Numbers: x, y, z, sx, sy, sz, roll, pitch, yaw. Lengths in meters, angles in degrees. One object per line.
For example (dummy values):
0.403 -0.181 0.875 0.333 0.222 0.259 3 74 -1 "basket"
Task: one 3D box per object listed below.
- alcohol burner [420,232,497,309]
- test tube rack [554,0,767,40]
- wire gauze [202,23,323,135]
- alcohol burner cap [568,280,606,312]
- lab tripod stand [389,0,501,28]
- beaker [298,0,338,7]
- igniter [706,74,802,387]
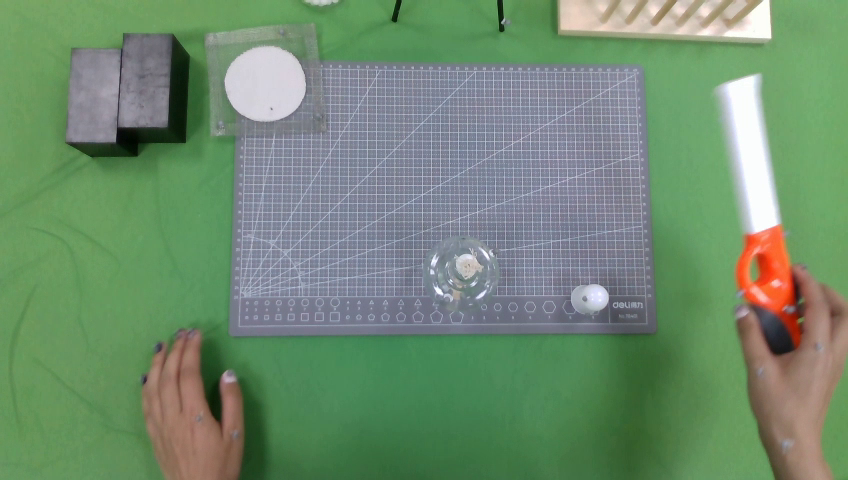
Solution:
0.035 0.028 0.592 0.078 0.119 0.077 1 81 -3 "alcohol burner"
0.271 -0.272 0.657 0.242 0.085 0.066 1 82 -2 "test tube rack"
-0.177 -0.176 0.659 0.125 0.011 0.121 -6 82 -3 "wire gauze"
0.172 0.058 0.630 0.034 0.048 0.033 0 80 -2 "alcohol burner cap"
0.026 -0.293 0.624 0.148 0.132 0.148 0 81 -1 "lab tripod stand"
-0.116 -0.297 0.635 0.074 0.100 0.084 -31 85 -6 "beaker"
0.288 -0.002 0.525 0.057 0.025 0.277 -18 100 -10 "igniter"
